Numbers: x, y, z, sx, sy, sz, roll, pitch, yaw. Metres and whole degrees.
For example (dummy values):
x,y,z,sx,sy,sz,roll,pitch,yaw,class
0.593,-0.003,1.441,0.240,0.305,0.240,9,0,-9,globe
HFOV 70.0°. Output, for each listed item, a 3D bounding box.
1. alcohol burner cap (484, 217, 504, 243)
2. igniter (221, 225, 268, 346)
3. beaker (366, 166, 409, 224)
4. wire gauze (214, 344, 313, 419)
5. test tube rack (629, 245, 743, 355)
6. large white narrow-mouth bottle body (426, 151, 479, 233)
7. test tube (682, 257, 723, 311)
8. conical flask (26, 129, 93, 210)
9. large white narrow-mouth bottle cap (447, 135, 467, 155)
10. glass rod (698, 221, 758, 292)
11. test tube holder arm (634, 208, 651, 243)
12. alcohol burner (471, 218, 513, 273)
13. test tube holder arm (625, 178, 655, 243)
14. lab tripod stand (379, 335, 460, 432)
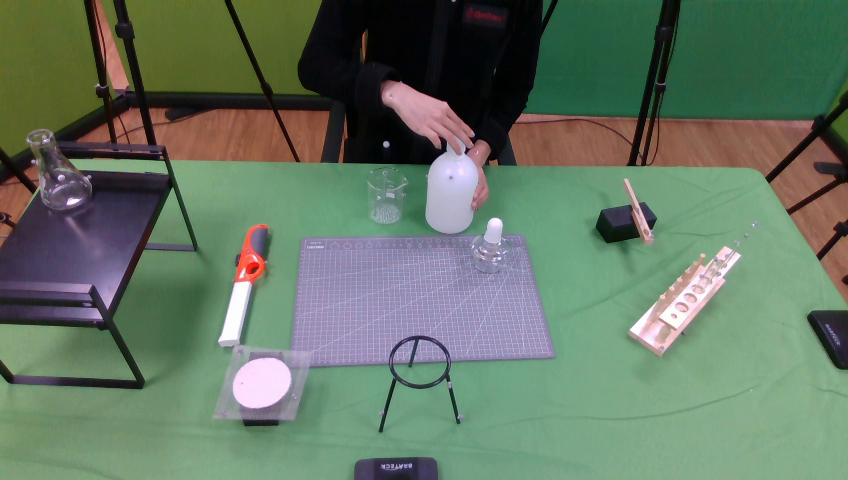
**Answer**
x,y,z,sx,sy,sz,roll,pitch,yaw,class
0.130,-0.021,1.107,0.034,0.048,0.033,4,41,-3,alcohol burner cap
-0.323,0.072,1.100,0.057,0.025,0.274,-6,45,5,igniter
-0.074,-0.088,1.222,0.084,0.101,0.073,4,46,-1,beaker
-0.241,0.213,0.915,0.121,0.011,0.124,5,46,1,wire gauze
0.474,0.095,1.091,0.242,0.085,0.066,-34,56,-31,test tube rack
0.057,-0.111,1.187,0.102,0.195,0.101,2,46,-2,large white narrow-mouth bottle body
0.475,0.080,1.037,0.017,0.151,0.017,1,50,-1,test tube
-0.575,-0.113,0.946,0.075,0.122,0.075,2,46,-2,conical flask
0.062,-0.176,1.117,0.038,0.024,0.037,2,46,-2,large white narrow-mouth bottle cap
0.527,0.035,1.059,0.008,0.200,0.008,5,49,-6,glass rod
0.428,-0.030,1.189,0.010,0.015,0.087,1,47,-2,test tube holder arm
0.128,0.005,1.132,0.078,0.120,0.077,0,47,0,alcohol burner
0.433,-0.062,1.220,0.013,0.015,0.177,1,47,-3,test tube holder arm
-0.011,0.214,0.911,0.148,0.132,0.147,1,45,0,lab tripod stand
